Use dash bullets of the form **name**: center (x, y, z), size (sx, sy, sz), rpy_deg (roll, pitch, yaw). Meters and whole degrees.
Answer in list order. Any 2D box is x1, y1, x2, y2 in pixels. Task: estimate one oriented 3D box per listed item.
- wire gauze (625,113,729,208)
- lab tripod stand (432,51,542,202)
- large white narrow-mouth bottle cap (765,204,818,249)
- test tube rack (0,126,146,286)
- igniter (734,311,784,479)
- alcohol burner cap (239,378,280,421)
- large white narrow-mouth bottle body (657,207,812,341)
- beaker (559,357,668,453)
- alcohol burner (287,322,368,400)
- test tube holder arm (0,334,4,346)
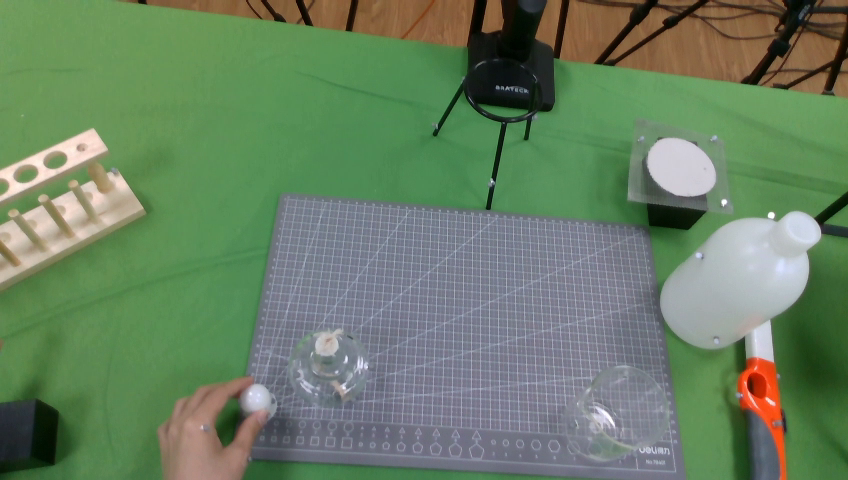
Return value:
- **wire gauze**: center (0.306, -0.096, 0.736), size (0.121, 0.011, 0.124), rpy_deg (12, 61, -1)
- **lab tripod stand**: center (0.081, -0.139, 0.716), size (0.149, 0.132, 0.147), rpy_deg (4, 63, -7)
- **large white narrow-mouth bottle cap**: center (0.331, -0.013, 0.549), size (0.038, 0.024, 0.037), rpy_deg (3, 62, -5)
- **test tube rack**: center (-0.425, -0.015, 0.617), size (0.242, 0.086, 0.066), rpy_deg (-33, 71, -21)
- **igniter**: center (0.366, 0.134, 0.668), size (0.057, 0.025, 0.274), rpy_deg (19, 61, -11)
- **alcohol burner cap**: center (-0.159, 0.150, 0.577), size (0.034, 0.048, 0.033), rpy_deg (0, 55, 1)
- **large white narrow-mouth bottle body**: center (0.324, 0.029, 0.623), size (0.102, 0.196, 0.101), rpy_deg (2, 62, -4)
- **beaker**: center (0.174, 0.164, 0.585), size (0.084, 0.101, 0.073), rpy_deg (2, 62, -5)
- **alcohol burner**: center (-0.091, 0.109, 0.574), size (0.078, 0.120, 0.077), rpy_deg (4, 61, -7)
- **test tube holder arm**: center (-0.395, 0.123, 0.532), size (0.010, 0.015, 0.087), rpy_deg (8, 61, -3)
